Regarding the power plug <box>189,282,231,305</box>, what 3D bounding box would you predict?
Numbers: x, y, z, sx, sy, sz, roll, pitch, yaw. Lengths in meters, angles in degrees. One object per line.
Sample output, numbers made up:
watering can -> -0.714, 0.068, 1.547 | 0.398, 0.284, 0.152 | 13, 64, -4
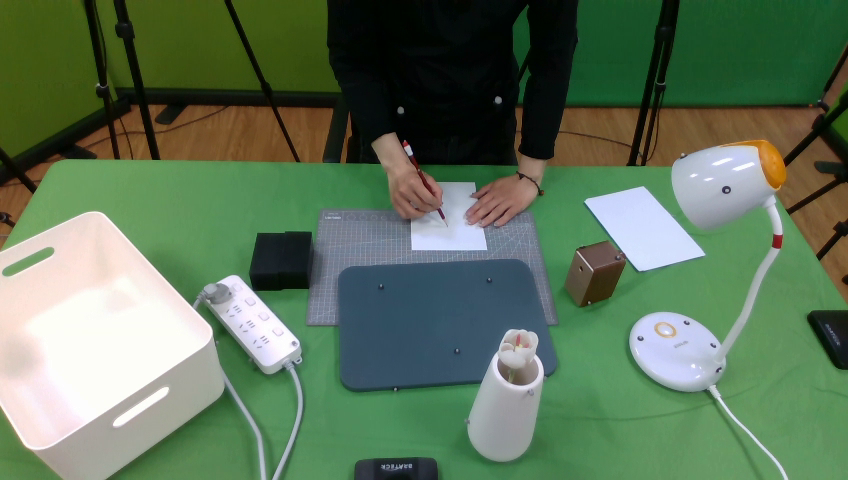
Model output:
power plug -> -0.368, 0.097, 1.039 | 0.072, 0.053, 0.035 | -26, 55, -20

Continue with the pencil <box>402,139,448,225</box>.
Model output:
pencil -> 0.005, -0.113, 1.210 | 0.012, 0.194, 0.012 | -26, 17, 8

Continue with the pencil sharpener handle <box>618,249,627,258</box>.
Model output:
pencil sharpener handle -> 0.359, 0.036, 1.113 | 0.031, 0.068, 0.036 | -15, 61, -18

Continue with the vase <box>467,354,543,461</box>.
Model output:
vase -> 0.116, 0.234, 0.861 | 0.098, 0.201, 0.097 | 1, 47, -1

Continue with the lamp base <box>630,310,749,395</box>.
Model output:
lamp base -> 0.447, 0.142, 0.984 | 0.161, 0.181, 0.178 | -24, 55, -24

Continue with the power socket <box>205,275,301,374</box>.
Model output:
power socket -> -0.296, 0.140, 1.035 | 0.072, 0.033, 0.225 | -32, 57, -30

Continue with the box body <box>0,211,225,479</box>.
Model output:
box body -> -0.504, 0.154, 0.916 | 0.362, 0.161, 0.254 | 36, 54, 27

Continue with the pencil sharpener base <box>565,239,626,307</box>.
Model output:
pencil sharpener base -> 0.313, 0.060, 1.104 | 0.077, 0.107, 0.061 | -15, 49, -18

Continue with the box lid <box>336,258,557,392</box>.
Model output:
box lid -> 0.030, 0.140, 1.073 | 0.372, 0.015, 0.261 | -3, 47, -7

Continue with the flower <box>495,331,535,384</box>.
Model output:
flower -> 0.110, 0.187, 0.791 | 0.044, 0.363, 0.038 | -32, 65, -10

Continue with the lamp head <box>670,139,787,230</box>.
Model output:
lamp head -> 0.415, -0.079, 0.812 | 0.113, 0.123, 0.112 | 13, 70, -37
